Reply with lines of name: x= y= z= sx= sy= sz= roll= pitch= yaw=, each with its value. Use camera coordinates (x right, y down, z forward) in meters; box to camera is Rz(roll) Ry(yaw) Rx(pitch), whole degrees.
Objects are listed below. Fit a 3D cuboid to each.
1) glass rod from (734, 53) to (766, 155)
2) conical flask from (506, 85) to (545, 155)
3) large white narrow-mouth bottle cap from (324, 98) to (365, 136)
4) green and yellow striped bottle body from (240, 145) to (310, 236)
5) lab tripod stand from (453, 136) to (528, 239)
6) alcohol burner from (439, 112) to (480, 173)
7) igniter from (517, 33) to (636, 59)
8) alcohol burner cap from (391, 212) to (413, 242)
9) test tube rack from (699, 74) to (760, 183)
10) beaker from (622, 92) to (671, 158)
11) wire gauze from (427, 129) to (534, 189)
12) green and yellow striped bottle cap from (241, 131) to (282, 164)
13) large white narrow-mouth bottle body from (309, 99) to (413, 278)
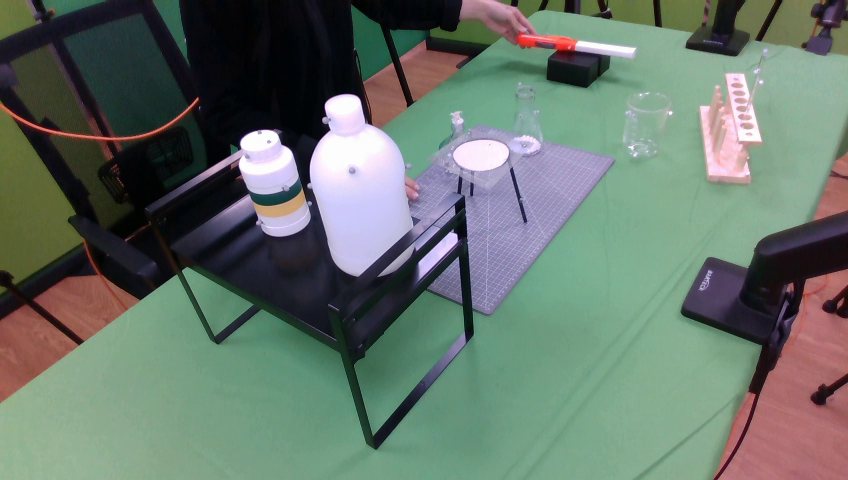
glass rod: x=0.541 y=-0.220 z=1.007 sx=0.008 sy=0.201 sz=0.008 roll=-5 pitch=45 yaw=6
conical flask: x=0.190 y=-0.227 z=1.134 sx=0.075 sy=0.122 sz=0.075 roll=-4 pitch=41 yaw=4
large white narrow-mouth bottle cap: x=-0.076 y=-0.120 z=0.586 sx=0.038 sy=0.024 sz=0.037 roll=-3 pitch=42 yaw=3
green and yellow striped bottle body: x=-0.181 y=-0.068 z=0.729 sx=0.063 sy=0.120 sz=0.063 roll=-4 pitch=40 yaw=4
lab tripod stand: x=0.094 y=-0.086 z=0.974 sx=0.148 sy=0.132 sz=0.147 roll=-4 pitch=43 yaw=4
alcohol burner: x=0.064 y=-0.183 z=1.107 sx=0.078 sy=0.119 sz=0.077 roll=-4 pitch=43 yaw=4
igniter: x=0.336 y=-0.441 z=1.369 sx=0.275 sy=0.025 sz=0.057 roll=16 pitch=42 yaw=23
alcohol burner cap: x=-0.038 y=-0.023 z=0.989 sx=0.034 sy=0.048 sz=0.033 roll=-5 pitch=40 yaw=5
test tube rack: x=0.547 y=-0.208 z=1.095 sx=0.066 sy=0.085 sz=0.242 roll=6 pitch=42 yaw=15
beaker: x=0.402 y=-0.210 z=1.106 sx=0.074 sy=0.101 sz=0.083 roll=-9 pitch=40 yaw=-2
wire gauze: x=0.086 y=-0.131 z=0.923 sx=0.124 sy=0.011 sz=0.122 roll=26 pitch=52 yaw=33
green and yellow striped bottle cap: x=-0.187 y=-0.107 z=0.695 sx=0.045 sy=0.020 sz=0.045 roll=-3 pitch=39 yaw=3
large white narrow-mouth bottle body: x=-0.068 y=-0.057 z=0.645 sx=0.102 sy=0.195 sz=0.101 roll=-4 pitch=42 yaw=4
